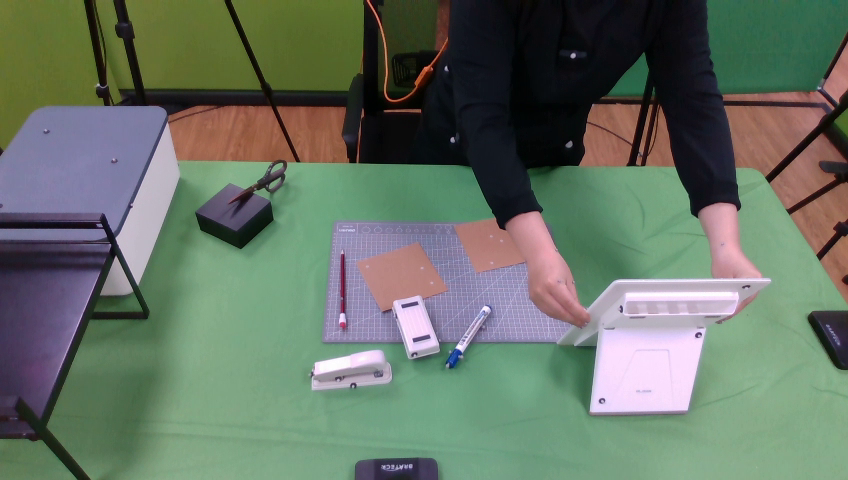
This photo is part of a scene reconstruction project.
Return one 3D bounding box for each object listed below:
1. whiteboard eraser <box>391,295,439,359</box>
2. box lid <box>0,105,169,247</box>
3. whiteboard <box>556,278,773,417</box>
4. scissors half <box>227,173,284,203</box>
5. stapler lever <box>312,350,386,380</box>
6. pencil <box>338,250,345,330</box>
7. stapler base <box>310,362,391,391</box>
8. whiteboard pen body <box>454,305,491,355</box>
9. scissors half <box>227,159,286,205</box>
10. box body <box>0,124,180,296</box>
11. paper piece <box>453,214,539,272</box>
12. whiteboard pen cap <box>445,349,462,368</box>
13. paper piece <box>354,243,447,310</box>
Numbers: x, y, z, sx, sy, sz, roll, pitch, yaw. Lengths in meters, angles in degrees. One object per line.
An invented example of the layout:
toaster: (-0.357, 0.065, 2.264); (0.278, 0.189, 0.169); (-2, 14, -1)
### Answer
whiteboard eraser: (-0.016, 0.150, 1.034); (0.056, 0.042, 0.112); (-10, 48, -15)
box lid: (-0.624, -0.125, 1.067); (0.263, 0.015, 0.369); (0, 46, -3)
whiteboard: (0.347, 0.174, 0.903); (0.217, 0.306, 0.143); (1, 65, -4)
scissors half: (-0.340, -0.101, 1.230); (0.013, 0.040, 0.175); (25, 29, 15)
stapler lever: (-0.120, 0.199, 0.963); (0.118, 0.040, 0.026); (-4, 44, -8)
pencil: (-0.152, 0.086, 1.107); (0.012, 0.012, 0.192); (-2, 44, -7)
stapler base: (-0.119, 0.215, 0.980); (0.131, 0.024, 0.041); (-5, 44, -7)
whiteboard pen body: (0.080, 0.163, 1.047); (0.017, 0.017, 0.140); (25, 50, 19)
scissors half: (-0.336, -0.117, 1.218); (0.013, 0.040, 0.175); (29, 47, 12)
box body: (-0.627, -0.075, 1.122); (0.254, 0.161, 0.361); (1, 46, -4)
paper piece: (0.142, 0.003, 1.212); (0.135, 0.004, 0.135); (-11, 48, -15)
whiteboard pen cap: (0.049, 0.196, 1.011); (0.018, 0.018, 0.033); (24, 52, 18)
paper piece: (-0.045, 0.066, 1.137); (0.136, 0.009, 0.137); (-13, 46, -23)
